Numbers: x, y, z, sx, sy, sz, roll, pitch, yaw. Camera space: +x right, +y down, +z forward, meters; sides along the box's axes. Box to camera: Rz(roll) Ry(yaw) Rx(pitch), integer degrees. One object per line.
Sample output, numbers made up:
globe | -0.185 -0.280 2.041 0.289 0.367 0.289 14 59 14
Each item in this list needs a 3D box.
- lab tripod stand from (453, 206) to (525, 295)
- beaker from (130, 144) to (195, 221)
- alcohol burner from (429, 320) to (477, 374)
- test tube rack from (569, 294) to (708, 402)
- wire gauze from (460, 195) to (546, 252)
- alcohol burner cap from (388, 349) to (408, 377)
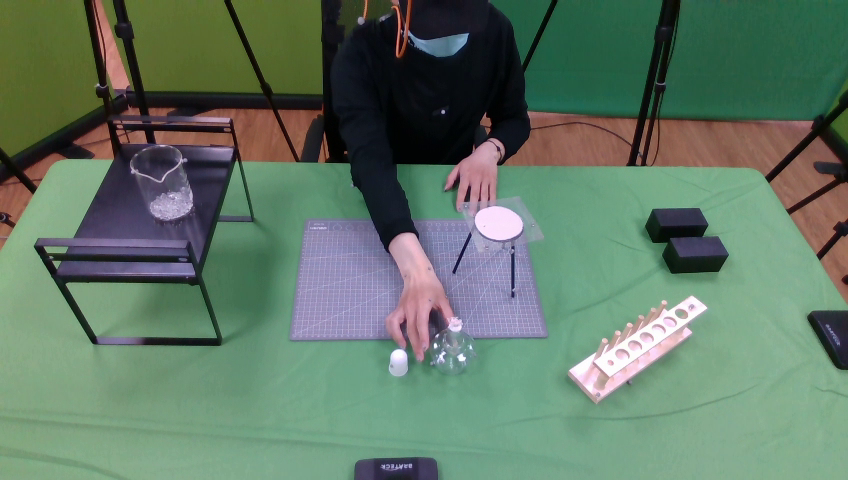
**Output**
lab tripod stand | 0.131 0.010 1.111 0.148 0.132 0.147 1 45 -1
beaker | -0.402 -0.085 0.944 0.074 0.101 0.083 -15 50 -17
alcohol burner | 0.048 0.164 0.977 0.078 0.120 0.077 2 48 -1
test tube rack | 0.360 0.167 1.014 0.242 0.085 0.066 -25 52 -25
wire gauze | 0.136 -0.035 1.061 0.121 0.011 0.124 -9 46 -12
alcohol burner cap | -0.042 0.198 0.989 0.034 0.048 0.033 2 46 -2
